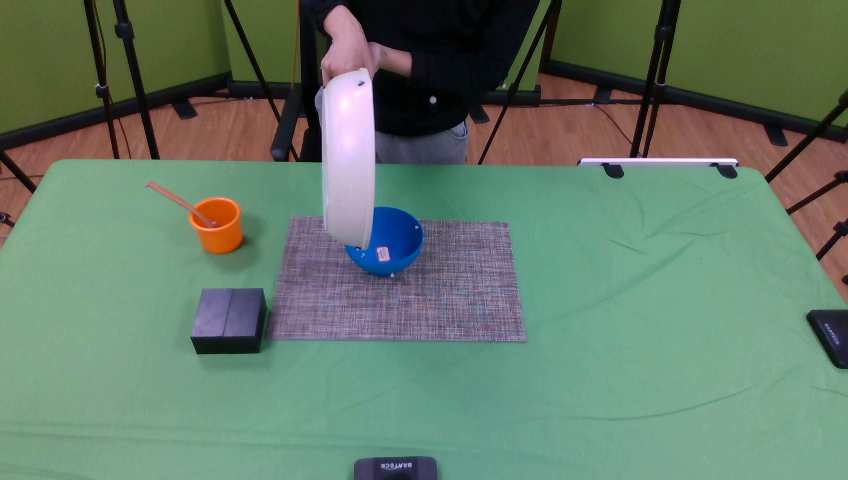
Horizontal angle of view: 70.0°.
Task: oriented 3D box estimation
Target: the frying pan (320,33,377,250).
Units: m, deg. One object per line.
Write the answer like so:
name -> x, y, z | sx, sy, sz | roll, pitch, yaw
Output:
frying pan -> -0.126, -0.208, 1.045 | 0.103, 0.308, 0.484 | 7, 50, -8

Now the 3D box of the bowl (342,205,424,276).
bowl -> -0.079, 0.014, 1.133 | 0.151, 0.077, 0.150 | 2, 46, -2

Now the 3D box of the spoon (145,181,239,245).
spoon -> -0.429, -0.052, 1.126 | 0.021, 0.195, 0.041 | -28, 34, 33
